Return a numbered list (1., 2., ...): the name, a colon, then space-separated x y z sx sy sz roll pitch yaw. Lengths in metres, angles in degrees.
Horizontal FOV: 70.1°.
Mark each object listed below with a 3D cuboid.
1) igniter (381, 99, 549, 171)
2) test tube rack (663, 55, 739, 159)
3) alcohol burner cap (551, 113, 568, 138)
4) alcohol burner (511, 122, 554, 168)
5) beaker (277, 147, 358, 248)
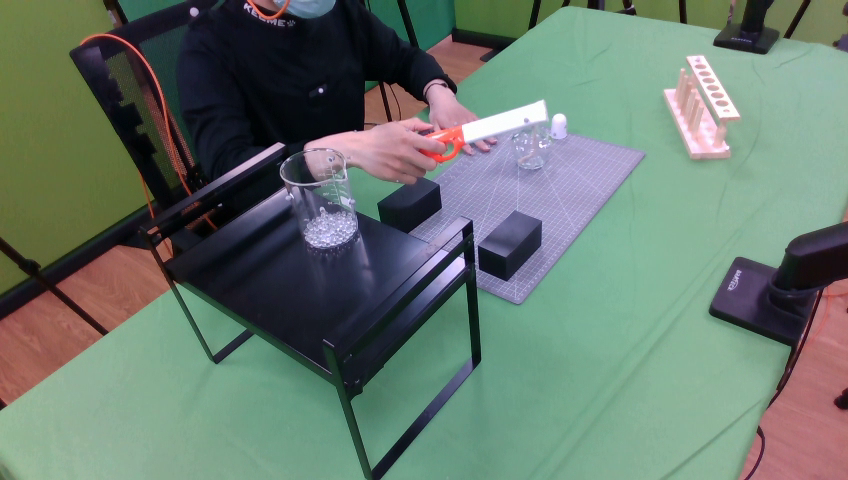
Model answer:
1. igniter: 0.053 -0.158 0.920 0.275 0.057 0.025 -14 -5 23
2. test tube rack: 0.518 -0.256 1.144 0.066 0.085 0.241 -1 41 8
3. alcohol burner cap: 0.263 -0.223 1.172 0.034 0.048 0.033 -5 40 4
4. alcohol burner: 0.196 -0.190 1.088 0.078 0.119 0.077 -3 42 3
5. beaker: -0.117 -0.046 0.705 0.083 0.101 0.074 17 47 25
